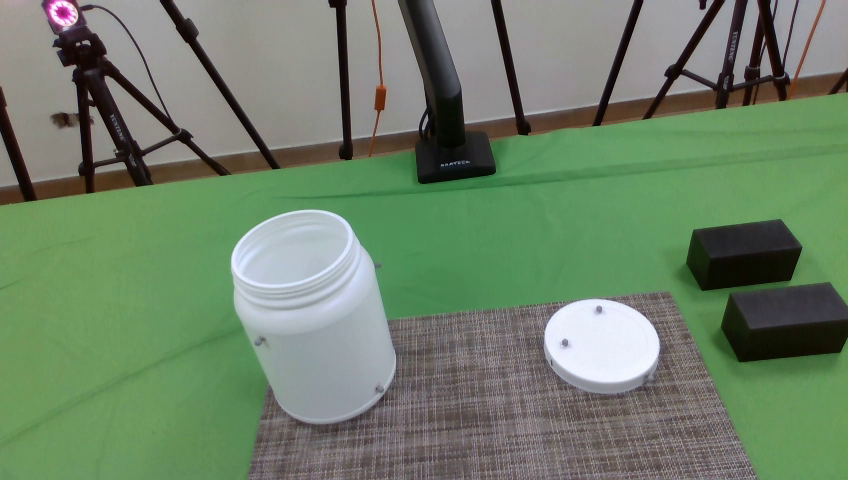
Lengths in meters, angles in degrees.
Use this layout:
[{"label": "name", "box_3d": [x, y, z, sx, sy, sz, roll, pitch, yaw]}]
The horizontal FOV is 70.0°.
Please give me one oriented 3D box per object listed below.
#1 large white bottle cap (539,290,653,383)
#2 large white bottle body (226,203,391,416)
[{"label": "large white bottle cap", "box_3d": [0.179, 0.098, 0.632, 0.115, 0.018, 0.113, -5, 40, 4]}, {"label": "large white bottle body", "box_3d": [-0.109, 0.068, 0.589, 0.130, 0.186, 0.129, -5, 40, 5]}]
